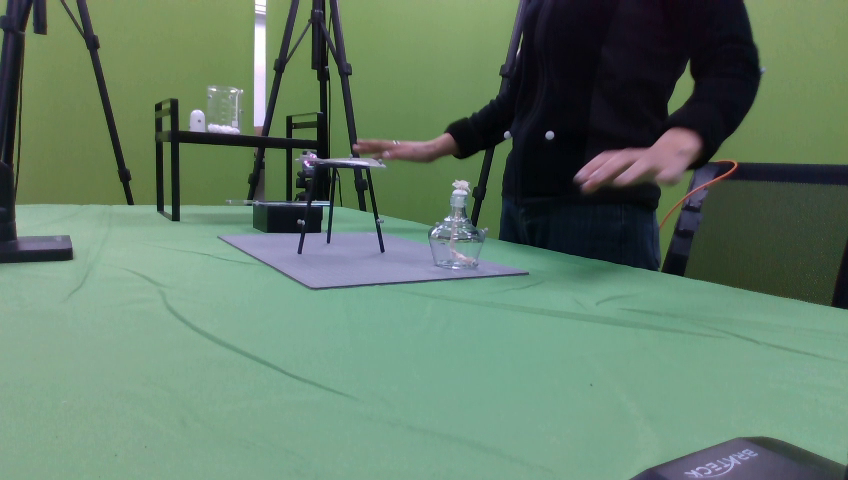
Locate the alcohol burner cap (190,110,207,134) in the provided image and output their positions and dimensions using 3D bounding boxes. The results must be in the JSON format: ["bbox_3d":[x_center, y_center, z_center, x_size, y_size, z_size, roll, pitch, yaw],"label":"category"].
[{"bbox_3d":[-0.464,-0.242,1.241,0.034,0.048,0.034,1,7,0],"label":"alcohol burner cap"}]

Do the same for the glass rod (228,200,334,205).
[{"bbox_3d":[-0.268,-0.071,1.148,0.201,0.008,0.008,-1,8,-28],"label":"glass rod"}]

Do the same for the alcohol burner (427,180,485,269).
[{"bbox_3d":[0.044,-0.021,0.807,0.078,0.119,0.078,4,6,0],"label":"alcohol burner"}]

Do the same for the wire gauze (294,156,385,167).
[{"bbox_3d":[-0.128,-0.118,0.901,0.125,0.011,0.121,0,8,-14],"label":"wire gauze"}]

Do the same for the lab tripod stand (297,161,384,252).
[{"bbox_3d":[-0.130,-0.051,0.903,0.148,0.131,0.148,3,9,0],"label":"lab tripod stand"}]

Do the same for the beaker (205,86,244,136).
[{"bbox_3d":[-0.430,-0.278,1.310,0.084,0.100,0.074,5,8,13],"label":"beaker"}]
